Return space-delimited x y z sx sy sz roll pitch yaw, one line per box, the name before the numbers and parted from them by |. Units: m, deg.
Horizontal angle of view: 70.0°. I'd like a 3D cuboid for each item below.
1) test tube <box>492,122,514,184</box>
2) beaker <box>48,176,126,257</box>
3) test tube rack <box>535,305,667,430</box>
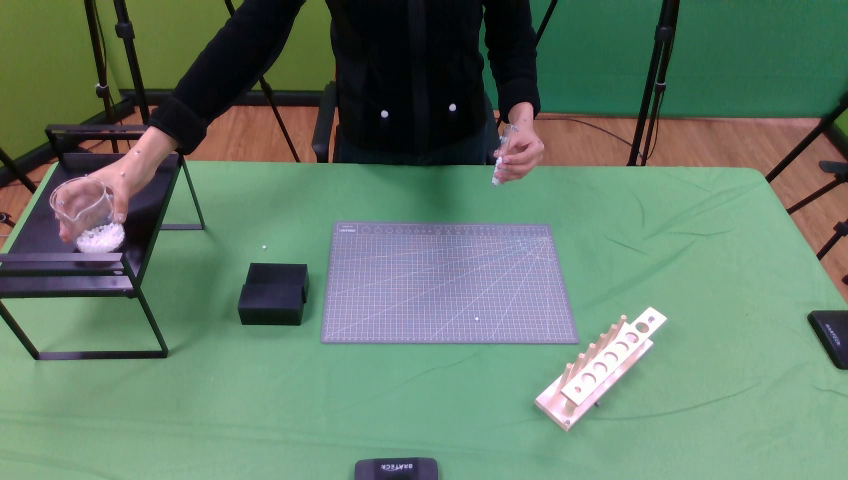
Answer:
test tube | 0.130 -0.142 1.015 0.017 0.151 0.017 2 59 -2
beaker | -0.485 -0.029 0.881 0.074 0.101 0.083 -7 49 -8
test tube rack | 0.290 0.193 0.984 0.242 0.085 0.066 -32 57 -30
